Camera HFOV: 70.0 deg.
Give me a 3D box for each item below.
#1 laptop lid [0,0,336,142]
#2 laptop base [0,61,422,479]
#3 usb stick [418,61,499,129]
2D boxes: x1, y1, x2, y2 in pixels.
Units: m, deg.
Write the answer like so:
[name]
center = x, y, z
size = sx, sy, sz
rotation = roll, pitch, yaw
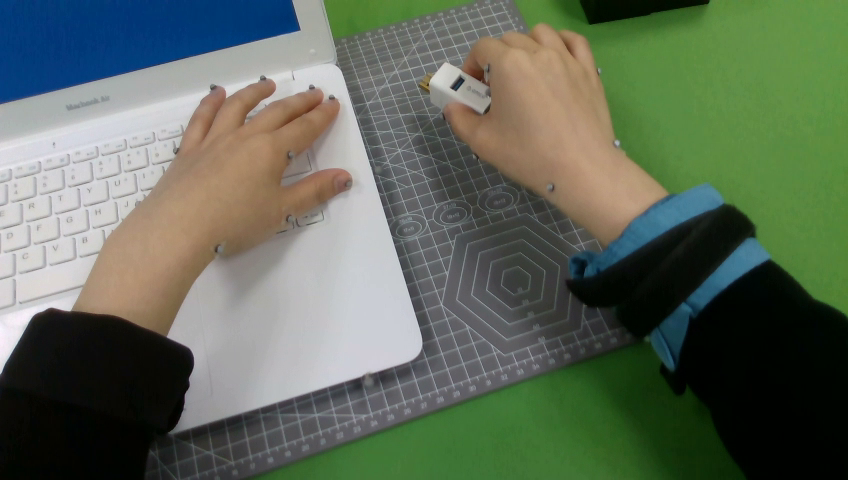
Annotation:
[laptop lid]
center = -0.251, -0.174, 0.365
size = 0.357, 0.244, 0.013
rotation = -17, 39, -5
[laptop base]
center = -0.199, 0.016, 0.390
size = 0.355, 0.023, 0.233
rotation = -16, 68, -6
[usb stick]
center = 0.021, -0.102, 0.413
size = 0.059, 0.027, 0.021
rotation = 31, 73, 20
